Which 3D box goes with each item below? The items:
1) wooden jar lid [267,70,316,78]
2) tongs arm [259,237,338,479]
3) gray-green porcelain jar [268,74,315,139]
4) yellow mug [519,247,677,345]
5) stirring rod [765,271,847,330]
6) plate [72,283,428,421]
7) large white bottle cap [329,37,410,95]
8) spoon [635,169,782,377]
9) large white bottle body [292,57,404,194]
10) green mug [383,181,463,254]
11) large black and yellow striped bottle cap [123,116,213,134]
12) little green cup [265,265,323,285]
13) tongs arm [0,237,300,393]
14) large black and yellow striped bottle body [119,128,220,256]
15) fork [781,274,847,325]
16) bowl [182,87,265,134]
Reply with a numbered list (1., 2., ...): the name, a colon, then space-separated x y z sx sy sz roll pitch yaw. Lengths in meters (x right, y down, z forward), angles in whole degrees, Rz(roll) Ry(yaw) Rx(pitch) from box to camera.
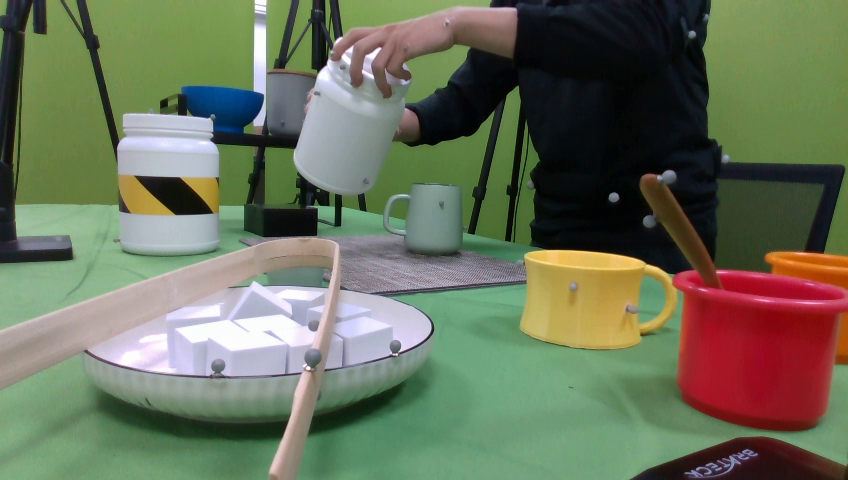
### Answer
1. wooden jar lid: -0.275 -0.339 1.271 0.108 0.020 0.108 5 6 0
2. tongs arm: -0.074 0.040 0.345 0.051 0.026 0.384 -2 9 -3
3. gray-green porcelain jar: -0.277 -0.279 1.280 0.106 0.126 0.106 2 8 0
4. yellow mug: 0.148 0.045 0.513 0.131 0.064 0.100 3 7 0
5. stirring rod: 0.352 0.020 0.481 0.176 0.006 0.014 -40 -7 17
6. plate: -0.102 0.066 0.381 0.208 0.039 0.207 2 7 0
7. large white bottle cap: -0.074 -0.240 0.830 0.115 0.018 0.114 20 37 -16
8. spoon: 0.161 0.026 0.346 0.021 0.194 0.041 -51 32 -19
9. large white bottle body: -0.108 -0.174 0.879 0.131 0.184 0.130 18 35 -12
10. green mug: -0.001 -0.036 0.922 0.126 0.105 0.092 0 8 -16
11. large black and yellow striped bottle cap: -0.353 -0.159 0.838 0.115 0.019 0.115 2 6 0
12. little green cup: -0.134 0.034 0.627 0.061 0.038 0.061 3 6 0
13. tongs arm: -0.158 0.039 0.346 0.028 0.028 0.388 -3 8 11
14. large black and yellow striped bottle body: -0.355 -0.076 0.850 0.131 0.184 0.130 2 8 0
15. fork: 0.332 0.018 0.443 0.028 0.018 0.207 -3 -35 -16
16. bowl: -0.383 -0.244 1.158 0.151 0.077 0.151 2 7 0
